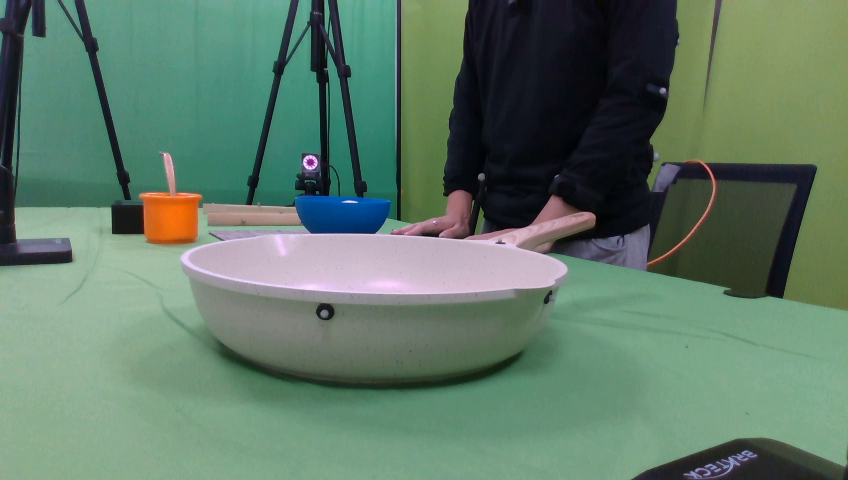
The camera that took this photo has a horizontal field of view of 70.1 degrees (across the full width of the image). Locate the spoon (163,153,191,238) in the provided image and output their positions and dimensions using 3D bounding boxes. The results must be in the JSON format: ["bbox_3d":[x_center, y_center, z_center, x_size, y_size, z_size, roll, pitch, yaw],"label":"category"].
[{"bbox_3d":[-0.413,-0.077,0.996,0.042,0.193,0.021,2,-38,-31],"label":"spoon"}]

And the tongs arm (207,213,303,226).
[{"bbox_3d":[-0.264,-0.046,1.297,0.390,0.028,0.028,-2,7,-32],"label":"tongs arm"}]

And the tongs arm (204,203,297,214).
[{"bbox_3d":[-0.295,-0.062,1.370,0.386,0.026,0.050,1,9,-19],"label":"tongs arm"}]

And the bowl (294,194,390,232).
[{"bbox_3d":[-0.130,-0.029,0.956,0.151,0.077,0.151,3,7,0],"label":"bowl"}]

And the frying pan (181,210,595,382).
[{"bbox_3d":[0.034,0.019,0.557,0.305,0.102,0.490,10,19,42],"label":"frying pan"}]
